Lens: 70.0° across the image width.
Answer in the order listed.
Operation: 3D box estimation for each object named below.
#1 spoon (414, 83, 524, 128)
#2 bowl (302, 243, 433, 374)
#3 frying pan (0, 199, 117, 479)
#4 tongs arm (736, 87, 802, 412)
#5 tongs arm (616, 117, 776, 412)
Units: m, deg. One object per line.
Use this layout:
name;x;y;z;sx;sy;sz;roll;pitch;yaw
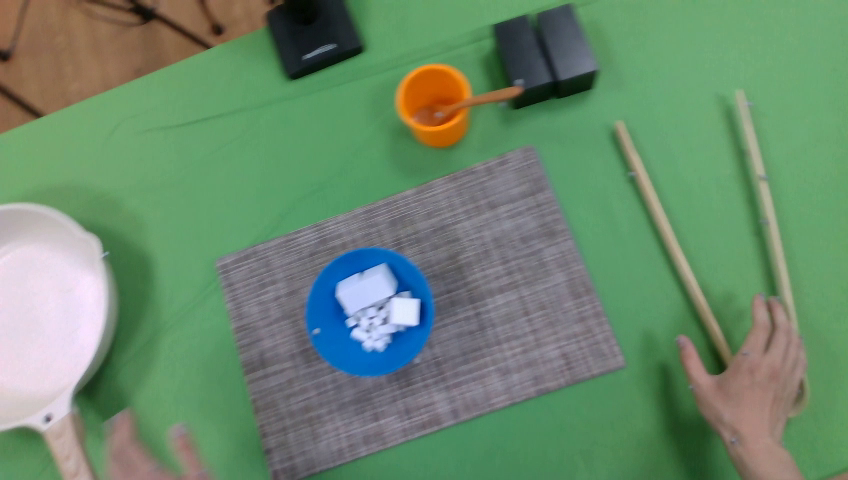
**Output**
spoon;0.049;-0.167;0.738;0.022;0.192;0.041;27;75;-31
bowl;-0.060;0.085;0.726;0.151;0.077;0.150;-2;77;7
frying pan;-0.476;0.171;0.751;0.307;0.103;0.483;-36;67;-1
tongs arm;0.391;0.003;0.714;0.051;0.026;0.383;-8;78;7
tongs arm;0.313;0.022;0.725;0.028;0.028;0.385;-20;76;1
